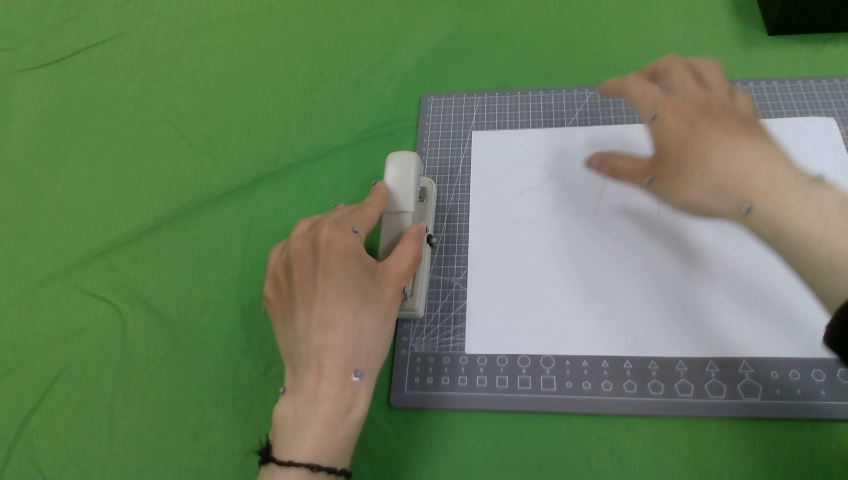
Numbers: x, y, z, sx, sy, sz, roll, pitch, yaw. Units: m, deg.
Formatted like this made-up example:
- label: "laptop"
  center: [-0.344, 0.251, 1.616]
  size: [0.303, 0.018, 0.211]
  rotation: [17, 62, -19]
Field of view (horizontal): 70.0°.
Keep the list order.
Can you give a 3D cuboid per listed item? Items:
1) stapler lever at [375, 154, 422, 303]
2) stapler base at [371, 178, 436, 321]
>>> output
- label: "stapler lever"
  center: [-0.019, -0.012, 0.451]
  size: [0.027, 0.040, 0.117]
  rotation: [-1, 59, 10]
- label: "stapler base"
  center: [-0.016, 0.000, 0.474]
  size: [0.041, 0.024, 0.129]
  rotation: [-1, 59, 10]
